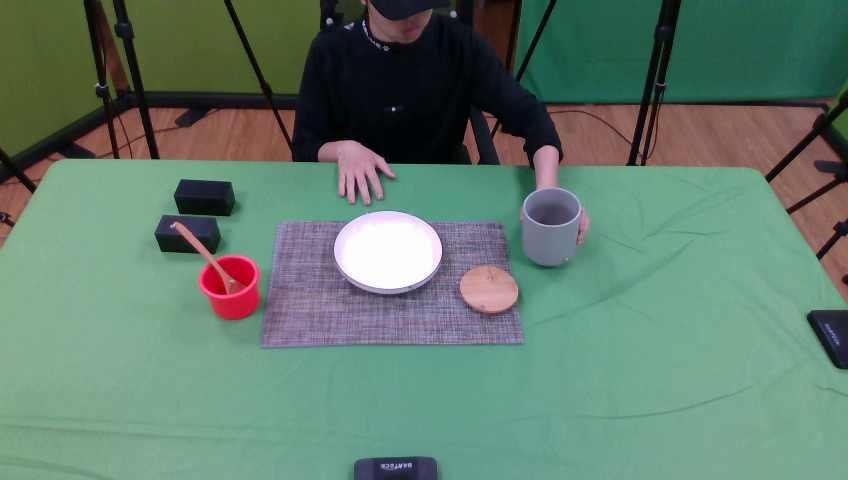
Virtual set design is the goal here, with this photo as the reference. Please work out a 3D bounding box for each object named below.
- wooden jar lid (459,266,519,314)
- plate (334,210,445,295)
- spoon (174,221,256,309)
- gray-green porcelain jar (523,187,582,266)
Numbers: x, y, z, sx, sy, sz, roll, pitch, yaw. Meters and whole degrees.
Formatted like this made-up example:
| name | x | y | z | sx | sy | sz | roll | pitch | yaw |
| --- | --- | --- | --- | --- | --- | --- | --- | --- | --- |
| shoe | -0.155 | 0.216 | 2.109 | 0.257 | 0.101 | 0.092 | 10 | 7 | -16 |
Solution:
| name | x | y | z | sx | sy | sz | roll | pitch | yaw |
| --- | --- | --- | --- | --- | --- | --- | --- | --- | --- |
| wooden jar lid | 0.118 | 0.093 | 1.111 | 0.108 | 0.021 | 0.107 | 1 | 47 | -1 |
| plate | -0.066 | 0.026 | 1.150 | 0.208 | 0.039 | 0.206 | 2 | 46 | -2 |
| spoon | -0.360 | 0.043 | 1.044 | 0.194 | 0.021 | 0.041 | 54 | 51 | -14 |
| gray-green porcelain jar | 0.241 | -0.021 | 1.151 | 0.106 | 0.127 | 0.105 | -4 | 48 | 5 |
